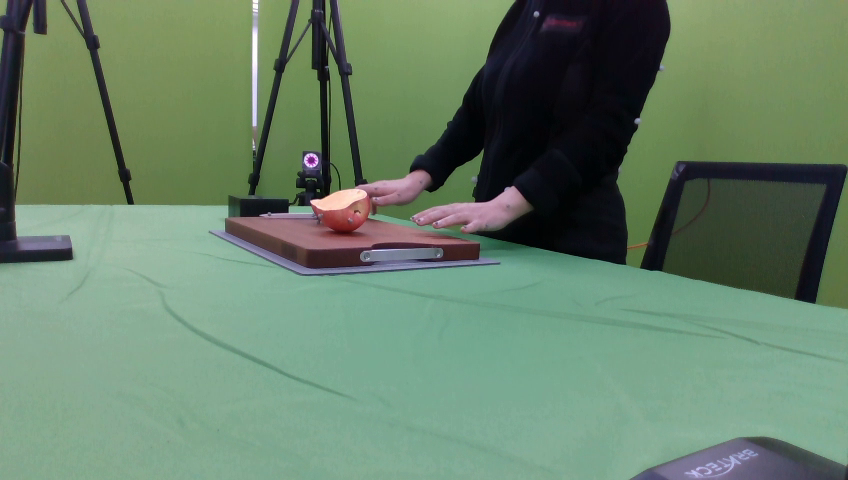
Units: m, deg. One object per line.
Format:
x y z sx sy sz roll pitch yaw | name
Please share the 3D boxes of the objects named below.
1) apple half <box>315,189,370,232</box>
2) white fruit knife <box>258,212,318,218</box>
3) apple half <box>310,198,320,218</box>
-0.123 -0.041 0.929 0.074 0.053 0.081 11 35 39 | apple half
-0.200 -0.046 1.112 0.208 0.016 0.027 -3 -20 -26 | white fruit knife
-0.160 -0.044 1.036 0.081 0.033 0.081 15 15 -4 | apple half
